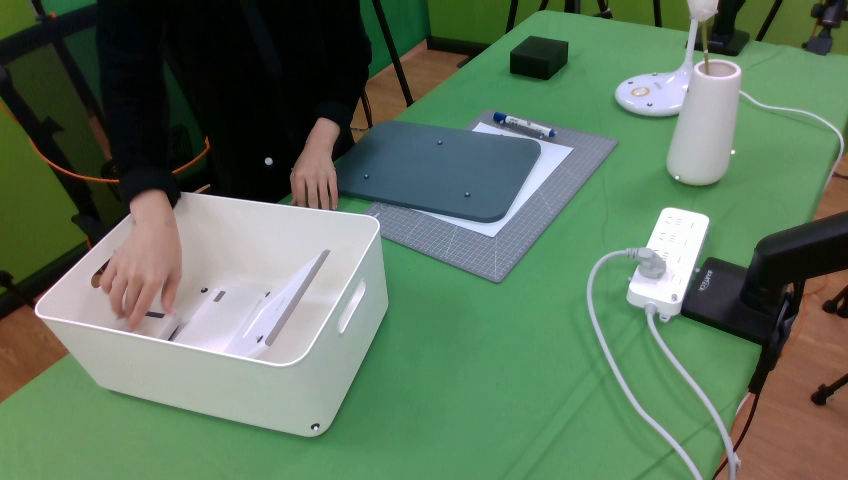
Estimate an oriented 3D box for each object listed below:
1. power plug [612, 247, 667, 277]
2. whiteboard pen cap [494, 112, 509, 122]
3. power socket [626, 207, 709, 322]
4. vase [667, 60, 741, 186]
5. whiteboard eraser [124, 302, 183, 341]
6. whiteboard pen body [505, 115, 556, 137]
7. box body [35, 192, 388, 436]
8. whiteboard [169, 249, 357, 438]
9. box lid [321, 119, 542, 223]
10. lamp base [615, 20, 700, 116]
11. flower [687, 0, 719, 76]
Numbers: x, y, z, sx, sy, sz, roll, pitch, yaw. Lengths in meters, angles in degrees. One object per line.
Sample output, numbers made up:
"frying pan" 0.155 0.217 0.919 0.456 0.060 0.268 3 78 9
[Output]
"power plug" 0.306 0.031 0.852 0.072 0.053 0.035 21 48 37
"whiteboard pen cap" 0.161 -0.253 1.248 0.033 0.018 0.018 27 51 36
"power socket" 0.360 0.026 0.886 0.072 0.033 0.227 17 46 27
"vase" 0.463 -0.189 0.994 0.098 0.201 0.097 -4 40 3
"whiteboard eraser" -0.384 0.139 0.828 0.055 0.042 0.112 11 41 7
"whiteboard pen body" 0.203 -0.232 1.213 0.139 0.017 0.017 27 51 36
"box body" -0.251 0.088 0.800 0.362 0.161 0.254 7 42 16
"whiteboard" -0.242 0.100 0.799 0.304 0.144 0.217 8 43 15
"box lid" 0.017 -0.141 1.145 0.369 0.015 0.263 12 44 22
"lamp base" 0.484 -0.364 1.211 0.180 0.181 0.159 -15 41 -14
"flower" 0.436 -0.242 0.934 0.038 0.364 0.043 -24 49 9
